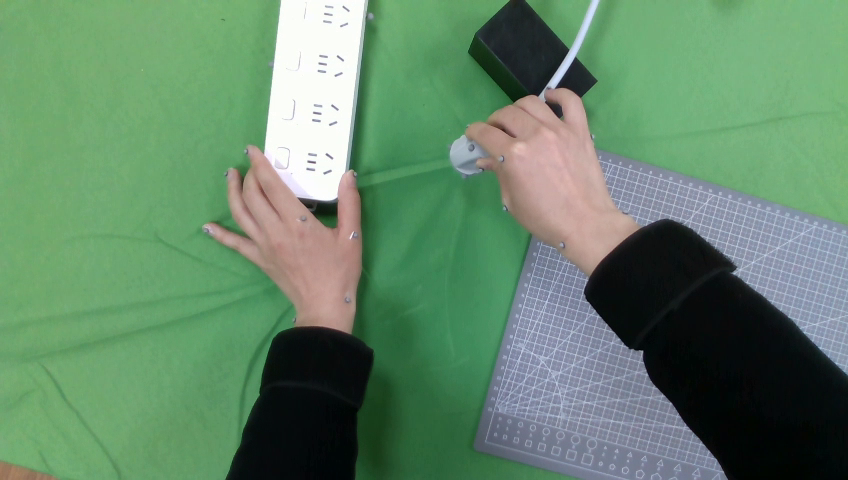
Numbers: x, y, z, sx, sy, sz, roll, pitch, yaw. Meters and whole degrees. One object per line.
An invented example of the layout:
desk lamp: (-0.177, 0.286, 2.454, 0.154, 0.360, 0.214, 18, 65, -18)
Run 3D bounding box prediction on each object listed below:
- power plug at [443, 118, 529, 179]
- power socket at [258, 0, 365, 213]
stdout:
power plug: (0.052, -0.074, 0.511, 0.072, 0.052, 0.035, -13, 90, -6)
power socket: (-0.096, -0.138, 0.528, 0.072, 0.032, 0.226, 7, 90, -5)
